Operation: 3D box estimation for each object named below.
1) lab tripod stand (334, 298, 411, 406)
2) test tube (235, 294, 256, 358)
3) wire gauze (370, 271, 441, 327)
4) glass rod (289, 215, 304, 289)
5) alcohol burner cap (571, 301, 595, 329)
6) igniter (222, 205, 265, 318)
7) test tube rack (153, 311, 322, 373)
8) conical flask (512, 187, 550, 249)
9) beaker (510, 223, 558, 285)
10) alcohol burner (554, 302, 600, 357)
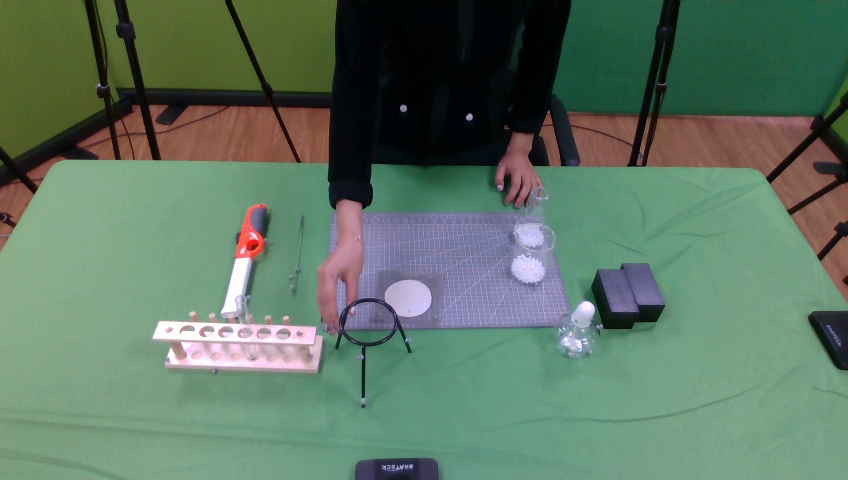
[{"bbox_3d":[-0.085,0.164,0.957,0.148,0.132,0.147,3,44,-2],"label":"lab tripod stand"},{"bbox_3d":[-0.274,0.136,0.933,0.017,0.151,0.017,4,45,-4],"label":"test tube"},{"bbox_3d":[-0.032,0.103,1.104,0.125,0.011,0.121,4,46,3],"label":"wire gauze"},{"bbox_3d":[-0.246,0.019,1.171,0.008,0.008,0.198,1,44,-3],"label":"glass rod"},{"bbox_3d":[0.262,0.120,0.991,0.034,0.048,0.033,2,52,-2],"label":"alcohol burner cap"},{"bbox_3d":[-0.337,0.031,1.140,0.057,0.025,0.274,-6,46,3],"label":"igniter"},{"bbox_3d":[-0.293,0.160,0.978,0.242,0.085,0.066,3,46,-2],"label":"test tube rack"},{"bbox_3d":[0.217,-0.048,1.190,0.075,0.122,0.075,2,46,-2],"label":"conical flask"},{"bbox_3d":[0.199,0.028,1.131,0.083,0.101,0.074,26,49,21],"label":"beaker"},{"bbox_3d":[0.260,0.144,1.018,0.078,0.119,0.077,3,45,-3],"label":"alcohol burner"}]
